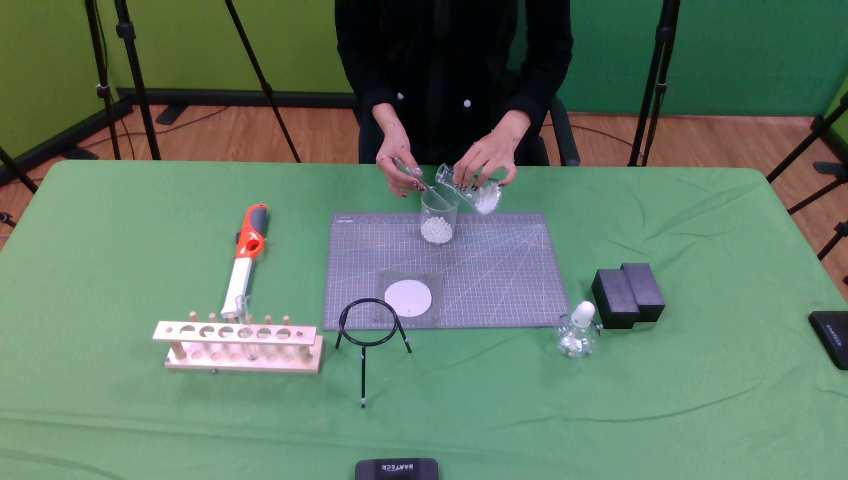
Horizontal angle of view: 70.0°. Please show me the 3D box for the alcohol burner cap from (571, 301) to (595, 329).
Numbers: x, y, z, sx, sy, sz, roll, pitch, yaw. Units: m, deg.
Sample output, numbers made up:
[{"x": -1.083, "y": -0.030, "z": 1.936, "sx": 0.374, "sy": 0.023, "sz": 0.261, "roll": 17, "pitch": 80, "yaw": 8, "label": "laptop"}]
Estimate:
[{"x": 0.262, "y": 0.120, "z": 0.991, "sx": 0.034, "sy": 0.048, "sz": 0.033, "roll": 2, "pitch": 52, "yaw": -2, "label": "alcohol burner cap"}]

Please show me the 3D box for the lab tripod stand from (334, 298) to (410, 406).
[{"x": -0.085, "y": 0.164, "z": 0.957, "sx": 0.148, "sy": 0.132, "sz": 0.147, "roll": 3, "pitch": 44, "yaw": -2, "label": "lab tripod stand"}]

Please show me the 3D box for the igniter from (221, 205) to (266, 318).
[{"x": -0.338, "y": 0.030, "z": 1.140, "sx": 0.057, "sy": 0.025, "sz": 0.274, "roll": -5, "pitch": 46, "yaw": 3, "label": "igniter"}]

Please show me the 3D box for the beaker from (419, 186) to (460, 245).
[{"x": 0.025, "y": -0.047, "z": 1.190, "sx": 0.074, "sy": 0.101, "sz": 0.083, "roll": -29, "pitch": 54, "yaw": -28, "label": "beaker"}]

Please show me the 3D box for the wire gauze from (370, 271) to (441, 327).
[{"x": -0.032, "y": 0.103, "z": 1.104, "sx": 0.125, "sy": 0.011, "sz": 0.121, "roll": 4, "pitch": 46, "yaw": 3, "label": "wire gauze"}]

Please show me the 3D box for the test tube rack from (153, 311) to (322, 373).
[{"x": -0.293, "y": 0.160, "z": 0.978, "sx": 0.242, "sy": 0.085, "sz": 0.066, "roll": 3, "pitch": 46, "yaw": -2, "label": "test tube rack"}]

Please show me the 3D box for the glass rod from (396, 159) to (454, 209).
[{"x": 0.005, "y": -0.100, "z": 1.118, "sx": 0.008, "sy": 0.201, "sz": 0.008, "roll": -15, "pitch": 60, "yaw": 28, "label": "glass rod"}]

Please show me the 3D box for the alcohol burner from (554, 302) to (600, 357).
[{"x": 0.260, "y": 0.143, "z": 1.018, "sx": 0.078, "sy": 0.119, "sz": 0.077, "roll": 3, "pitch": 45, "yaw": -3, "label": "alcohol burner"}]

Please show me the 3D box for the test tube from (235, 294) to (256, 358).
[{"x": -0.274, "y": 0.136, "z": 0.933, "sx": 0.017, "sy": 0.151, "sz": 0.017, "roll": 4, "pitch": 46, "yaw": -4, "label": "test tube"}]

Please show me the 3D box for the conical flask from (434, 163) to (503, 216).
[{"x": 0.079, "y": -0.100, "z": 1.121, "sx": 0.122, "sy": 0.075, "sz": 0.075, "roll": 25, "pitch": 43, "yaw": -19, "label": "conical flask"}]
